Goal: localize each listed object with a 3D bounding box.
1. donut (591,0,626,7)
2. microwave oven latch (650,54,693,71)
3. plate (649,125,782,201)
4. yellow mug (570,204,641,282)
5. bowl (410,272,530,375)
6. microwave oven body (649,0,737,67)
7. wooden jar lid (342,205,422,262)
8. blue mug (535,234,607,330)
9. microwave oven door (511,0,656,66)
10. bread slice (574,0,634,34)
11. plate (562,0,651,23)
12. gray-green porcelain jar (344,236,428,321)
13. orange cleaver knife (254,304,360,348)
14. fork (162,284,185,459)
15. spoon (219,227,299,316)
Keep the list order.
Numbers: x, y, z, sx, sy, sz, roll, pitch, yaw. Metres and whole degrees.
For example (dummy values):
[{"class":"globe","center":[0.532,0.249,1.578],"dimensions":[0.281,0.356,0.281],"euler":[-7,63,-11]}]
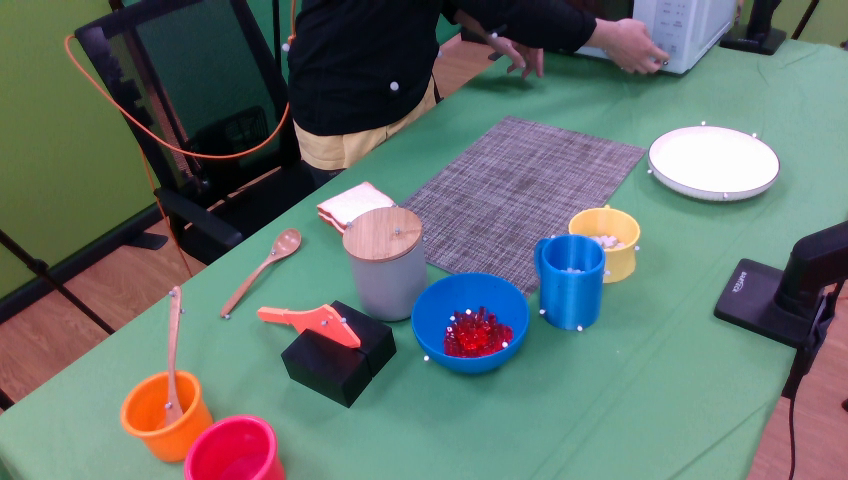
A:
[{"class":"donut","center":[0.437,-0.589,1.433],"dimensions":[0.099,0.048,0.098],"euler":[-3,53,4]},{"class":"microwave oven latch","center":[0.531,-0.386,1.301],"dimensions":[0.078,0.029,0.030],"euler":[25,51,33]},{"class":"plate","center":[0.493,-0.127,1.036],"dimensions":[0.207,0.039,0.206],"euler":[-4,41,4]},{"class":"yellow mug","center":[0.268,-0.005,0.904],"dimensions":[0.099,0.064,0.130],"euler":[7,41,15]},{"class":"bowl","center":[0.061,0.120,0.780],"dimensions":[0.151,0.077,0.150],"euler":[-4,40,4]},{"class":"microwave oven body","center":[0.475,-0.602,1.411],"dimensions":[0.438,0.261,0.327],"euler":[23,50,32]},{"class":"wooden jar lid","center":[-0.056,-0.005,0.808],"dimensions":[0.108,0.021,0.108],"euler":[-6,41,6]},{"class":"blue mug","center":[0.190,0.048,0.824],"dimensions":[0.082,0.106,0.115],"euler":[-26,44,-20]},{"class":"microwave oven door","center":[0.351,-0.540,1.349],"dimensions":[0.353,0.245,0.039],"euler":[24,50,31]},{"class":"bread slice","center":[0.432,-0.563,1.475],"dimensions":[0.105,0.019,0.131],"euler":[-30,67,-21]},{"class":"plate","center":[0.439,-0.572,1.456],"dimensions":[0.209,0.038,0.208],"euler":[-6,44,6]},{"class":"gray-green porcelain jar","center":[-0.050,0.042,0.849],"dimensions":[0.106,0.127,0.105],"euler":[-4,41,4]},{"class":"orange cleaver knife","center":[-0.161,0.115,0.813],"dimensions":[0.210,0.077,0.012],"euler":[-4,33,46]},{"class":"fork","center":[-0.303,0.157,0.733],"dimensions":[0.028,0.019,0.207],"euler":[-3,84,12]},{"class":"spoon","center":[-0.261,0.046,0.954],"dimensions":[0.041,0.021,0.194],"euler":[27,48,10]}]
